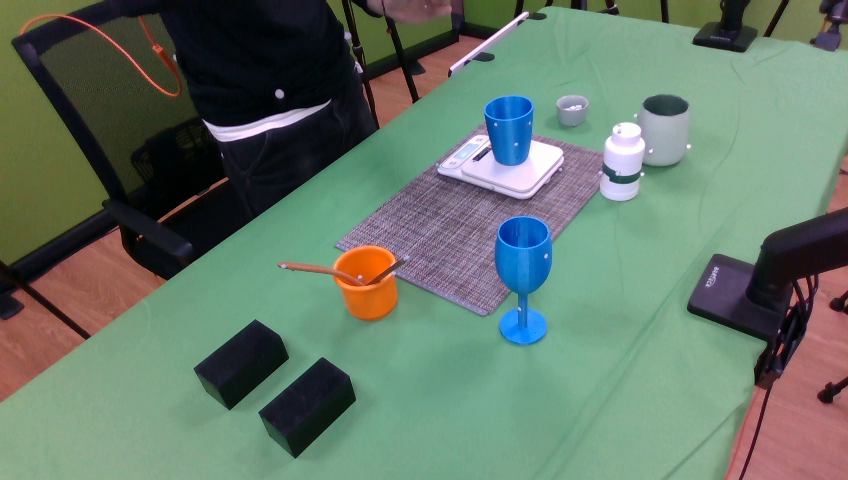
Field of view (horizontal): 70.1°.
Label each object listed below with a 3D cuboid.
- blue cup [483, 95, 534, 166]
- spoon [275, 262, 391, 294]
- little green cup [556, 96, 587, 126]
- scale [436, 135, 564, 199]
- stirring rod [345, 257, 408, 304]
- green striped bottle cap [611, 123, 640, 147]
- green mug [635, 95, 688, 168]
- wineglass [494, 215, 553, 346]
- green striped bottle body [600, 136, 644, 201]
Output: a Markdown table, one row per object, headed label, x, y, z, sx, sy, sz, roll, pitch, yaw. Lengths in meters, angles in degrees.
| label | x | y | z | sx | sy | sz | roll | pitch | yaw |
| --- | --- | --- | --- | --- | --- | --- | --- | --- | --- |
| blue cup | 0.150 | -0.187 | 1.051 | 0.092 | 0.101 | 0.092 | -6 | 41 | 6 |
| spoon | -0.120 | 0.050 | 0.830 | 0.041 | 0.195 | 0.021 | 31 | 97 | 45 |
| little green cup | 0.295 | -0.258 | 1.214 | 0.061 | 0.039 | 0.061 | -4 | 42 | 4 |
| scale | 0.137 | -0.142 | 1.101 | 0.199 | 0.032 | 0.149 | 22 | 48 | 30 |
| stirring rod | -0.067 | 0.057 | 0.815 | 0.014 | 0.175 | 0.006 | -24 | 82 | -38 |
| green striped bottle cap | 0.322 | -0.168 | 0.963 | 0.044 | 0.020 | 0.044 | -3 | 42 | 3 |
| green mug | 0.421 | -0.201 | 1.081 | 0.092 | 0.105 | 0.125 | 5 | 42 | 15 |
| wineglass | 0.126 | 0.055 | 0.770 | 0.074 | 0.173 | 0.073 | -4 | 40 | 4 |
| green striped bottle body | 0.326 | -0.128 | 0.997 | 0.063 | 0.120 | 0.063 | -4 | 41 | 4 |
